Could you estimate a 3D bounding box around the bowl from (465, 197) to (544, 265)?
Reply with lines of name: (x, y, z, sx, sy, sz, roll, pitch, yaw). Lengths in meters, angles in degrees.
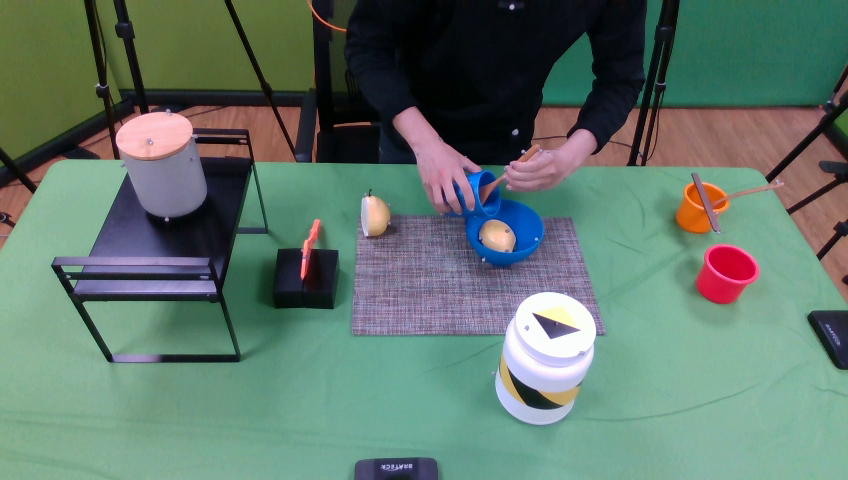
bowl: (0.149, -0.004, 1.167, 0.151, 0.077, 0.150, 3, 46, -2)

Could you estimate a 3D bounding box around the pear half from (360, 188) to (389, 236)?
pear half: (-0.096, -0.060, 1.181, 0.056, 0.110, 0.076, -13, 52, -17)

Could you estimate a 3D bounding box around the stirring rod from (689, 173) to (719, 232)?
stirring rod: (0.566, -0.079, 1.225, 0.014, 0.006, 0.175, 2, 45, 2)

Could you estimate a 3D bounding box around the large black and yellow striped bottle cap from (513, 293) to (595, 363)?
large black and yellow striped bottle cap: (0.186, 0.123, 0.863, 0.115, 0.019, 0.114, 3, 45, -3)

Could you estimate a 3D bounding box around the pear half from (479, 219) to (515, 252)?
pear half: (0.143, -0.010, 1.163, 0.070, 0.031, 0.087, -17, 55, -14)

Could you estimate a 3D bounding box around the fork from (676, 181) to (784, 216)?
fork: (0.618, -0.084, 1.235, 0.207, 0.019, 0.028, -23, 21, 38)

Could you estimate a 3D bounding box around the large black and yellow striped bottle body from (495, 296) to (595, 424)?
large black and yellow striped bottle body: (0.183, 0.182, 0.923, 0.131, 0.185, 0.130, 2, 46, -2)

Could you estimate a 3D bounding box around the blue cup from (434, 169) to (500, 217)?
blue cup: (0.075, -0.080, 1.110, 0.100, 0.093, 0.092, -5, 38, 35)

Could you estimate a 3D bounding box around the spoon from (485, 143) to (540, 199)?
spoon: (0.135, -0.111, 1.066, 0.022, 0.194, 0.041, -1, 60, -46)

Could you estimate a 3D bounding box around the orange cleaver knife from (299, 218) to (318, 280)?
orange cleaver knife: (-0.214, 0.013, 1.125, 0.012, 0.077, 0.210, 6, 17, -5)

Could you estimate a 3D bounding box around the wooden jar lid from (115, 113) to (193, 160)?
wooden jar lid: (-0.399, -0.151, 0.900, 0.108, 0.021, 0.107, 3, 46, -3)

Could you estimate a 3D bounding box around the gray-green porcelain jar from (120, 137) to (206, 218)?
gray-green porcelain jar: (-0.403, -0.106, 0.946, 0.106, 0.127, 0.105, 3, 46, -2)
